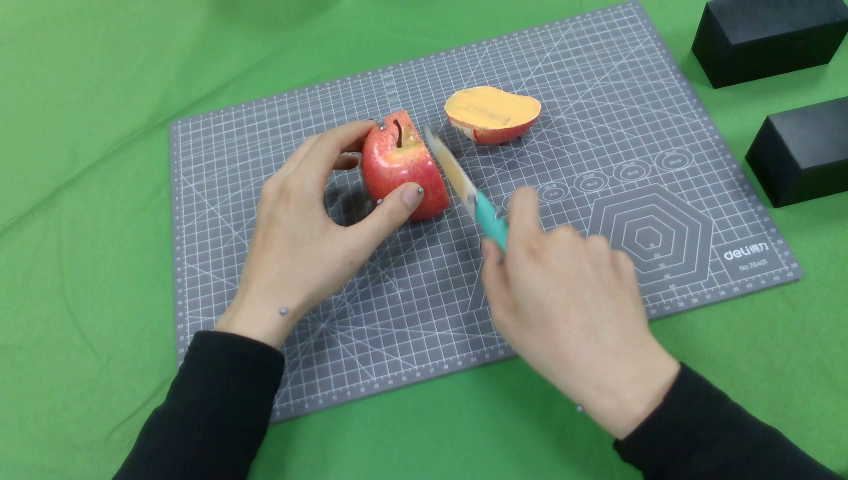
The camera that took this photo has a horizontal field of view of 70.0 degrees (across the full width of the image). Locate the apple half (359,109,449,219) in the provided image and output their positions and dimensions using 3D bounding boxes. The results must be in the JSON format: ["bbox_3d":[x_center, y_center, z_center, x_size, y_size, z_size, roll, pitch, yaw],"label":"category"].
[{"bbox_3d":[-0.020,-0.050,0.460,0.053,0.075,0.080,-28,65,-1],"label":"apple half"}]

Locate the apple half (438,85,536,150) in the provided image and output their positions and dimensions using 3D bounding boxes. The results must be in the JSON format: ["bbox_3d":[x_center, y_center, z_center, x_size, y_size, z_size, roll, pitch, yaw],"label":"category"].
[{"bbox_3d":[0.049,-0.093,0.497,0.081,0.033,0.080,-3,43,3],"label":"apple half"}]

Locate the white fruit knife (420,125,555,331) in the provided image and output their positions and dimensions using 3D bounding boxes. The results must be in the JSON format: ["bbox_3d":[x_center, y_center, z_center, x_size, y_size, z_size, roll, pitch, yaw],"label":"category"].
[{"bbox_3d":[0.039,-0.021,0.453,0.016,0.027,0.205,-11,52,-27],"label":"white fruit knife"}]
